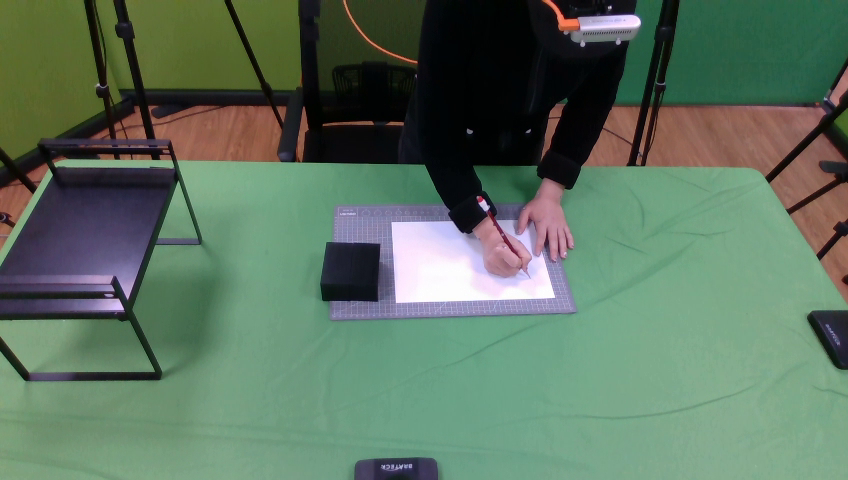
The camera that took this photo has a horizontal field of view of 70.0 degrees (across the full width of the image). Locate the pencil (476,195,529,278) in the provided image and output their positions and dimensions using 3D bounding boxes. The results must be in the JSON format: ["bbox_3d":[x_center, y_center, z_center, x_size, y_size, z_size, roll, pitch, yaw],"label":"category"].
[{"bbox_3d":[0.149,-0.003,1.119,0.012,0.195,0.012,-30,20,12],"label":"pencil"}]
